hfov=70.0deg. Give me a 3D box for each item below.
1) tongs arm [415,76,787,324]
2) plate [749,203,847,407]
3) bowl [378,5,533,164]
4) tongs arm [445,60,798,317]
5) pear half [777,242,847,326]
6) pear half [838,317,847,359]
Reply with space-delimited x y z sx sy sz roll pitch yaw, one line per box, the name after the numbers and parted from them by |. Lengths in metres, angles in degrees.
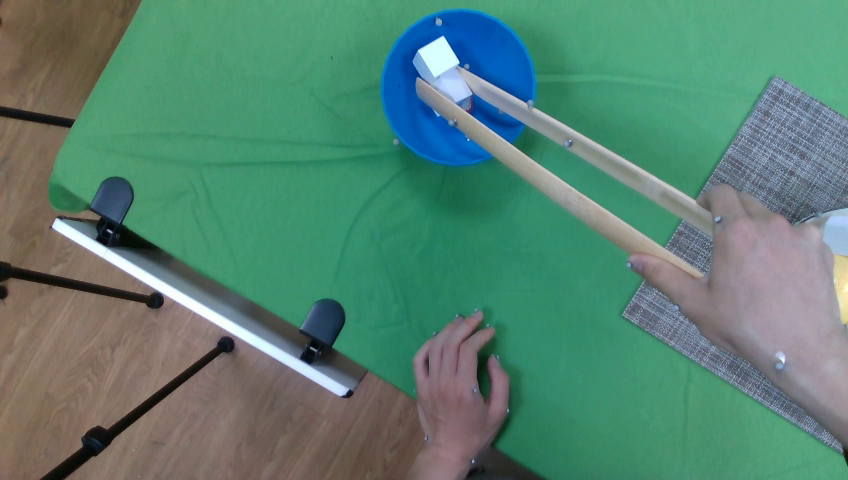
0.111 -0.052 0.505 0.028 0.028 0.383 -31 52 -22 | tongs arm
0.436 0.065 0.621 0.207 0.039 0.207 0 91 3 | plate
0.032 -0.148 0.619 0.151 0.077 0.151 0 91 2 | bowl
0.132 -0.066 0.514 0.051 0.027 0.381 -36 53 -21 | tongs arm
0.417 0.034 0.608 0.076 0.056 0.110 42 89 -3 | pear half
0.473 0.097 0.614 0.088 0.031 0.070 -27 93 8 | pear half
